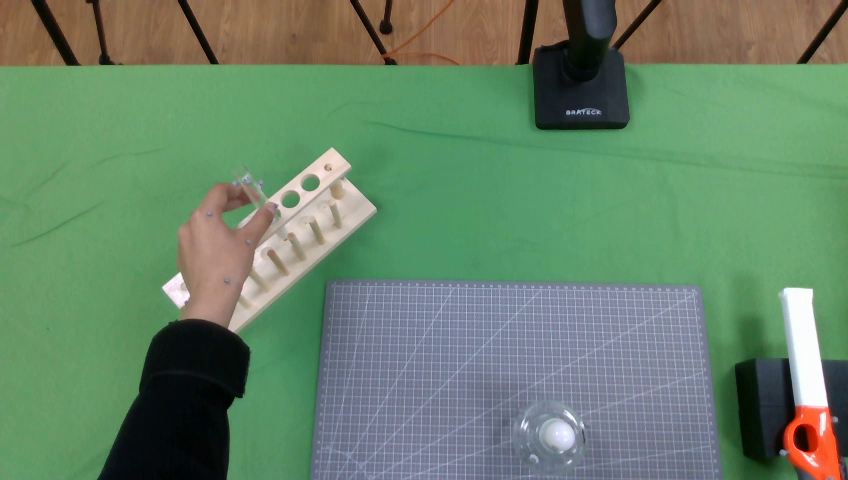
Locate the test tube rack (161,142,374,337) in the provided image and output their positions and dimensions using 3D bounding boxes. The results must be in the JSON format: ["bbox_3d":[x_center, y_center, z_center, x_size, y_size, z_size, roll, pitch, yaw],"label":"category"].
[{"bbox_3d":[-0.173,0.001,0.709,0.242,0.085,0.066,-42,76,-12],"label":"test tube rack"}]

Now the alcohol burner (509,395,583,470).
[{"bbox_3d":[0.129,0.197,0.624,0.078,0.120,0.077,0,70,0],"label":"alcohol burner"}]

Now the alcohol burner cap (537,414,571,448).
[{"bbox_3d":[0.129,0.186,0.590,0.034,0.048,0.033,-1,74,5],"label":"alcohol burner cap"}]

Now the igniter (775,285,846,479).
[{"bbox_3d":[0.395,0.180,0.624,0.057,0.025,0.274,4,70,4],"label":"igniter"}]

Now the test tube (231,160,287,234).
[{"bbox_3d":[-0.174,-0.042,0.653,0.017,0.151,0.017,-1,66,4],"label":"test tube"}]
